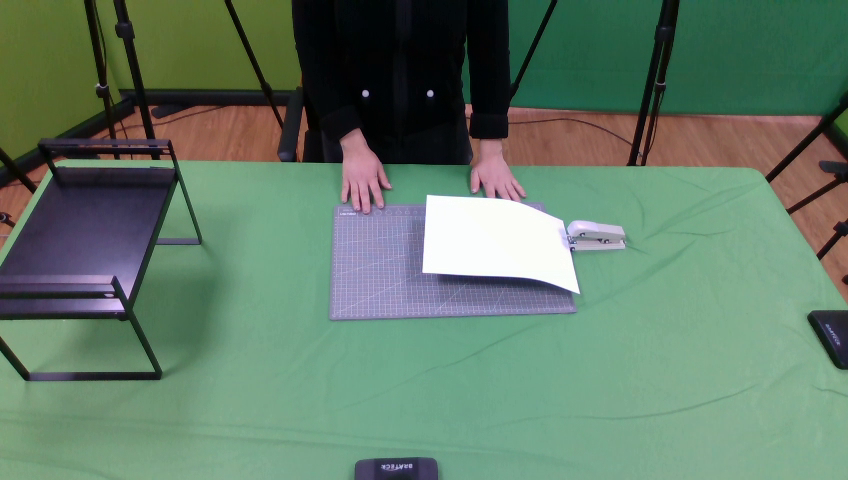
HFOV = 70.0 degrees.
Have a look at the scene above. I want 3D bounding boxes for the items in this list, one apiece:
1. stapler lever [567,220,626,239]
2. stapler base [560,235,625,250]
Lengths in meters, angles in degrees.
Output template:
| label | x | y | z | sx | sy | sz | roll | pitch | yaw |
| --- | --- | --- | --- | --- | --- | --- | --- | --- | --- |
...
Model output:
| label | x | y | z | sx | sy | sz | roll | pitch | yaw |
| --- | --- | --- | --- | --- | --- | --- | --- | --- | --- |
| stapler lever | 0.345 | -0.020 | 1.209 | 0.118 | 0.040 | 0.026 | -2 | 46 | -6 |
| stapler base | 0.342 | -0.002 | 1.225 | 0.131 | 0.024 | 0.041 | -1 | 45 | -7 |
